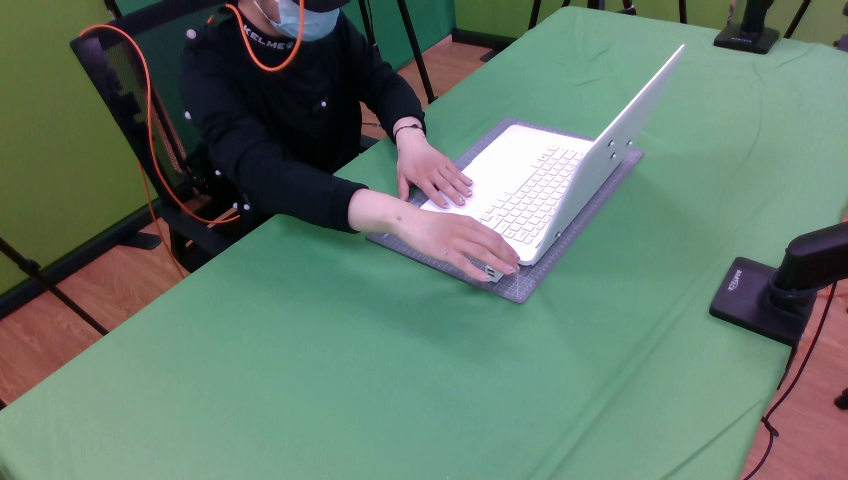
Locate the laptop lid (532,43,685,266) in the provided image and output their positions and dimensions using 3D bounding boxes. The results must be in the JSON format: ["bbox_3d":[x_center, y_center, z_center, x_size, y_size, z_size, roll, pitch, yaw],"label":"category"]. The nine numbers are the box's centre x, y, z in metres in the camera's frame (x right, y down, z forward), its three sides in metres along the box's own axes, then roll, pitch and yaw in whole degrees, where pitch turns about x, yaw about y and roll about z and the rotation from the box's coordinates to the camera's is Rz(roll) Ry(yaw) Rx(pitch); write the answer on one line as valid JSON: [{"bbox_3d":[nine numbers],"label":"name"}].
[{"bbox_3d":[0.280,-0.130,0.907,0.013,0.242,0.357,34,52,17],"label":"laptop lid"}]

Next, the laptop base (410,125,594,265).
[{"bbox_3d":[0.169,-0.094,1.056,0.233,0.023,0.355,19,47,32],"label":"laptop base"}]

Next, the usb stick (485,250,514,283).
[{"bbox_3d":[0.115,0.035,0.895,0.021,0.027,0.059,18,43,34],"label":"usb stick"}]
